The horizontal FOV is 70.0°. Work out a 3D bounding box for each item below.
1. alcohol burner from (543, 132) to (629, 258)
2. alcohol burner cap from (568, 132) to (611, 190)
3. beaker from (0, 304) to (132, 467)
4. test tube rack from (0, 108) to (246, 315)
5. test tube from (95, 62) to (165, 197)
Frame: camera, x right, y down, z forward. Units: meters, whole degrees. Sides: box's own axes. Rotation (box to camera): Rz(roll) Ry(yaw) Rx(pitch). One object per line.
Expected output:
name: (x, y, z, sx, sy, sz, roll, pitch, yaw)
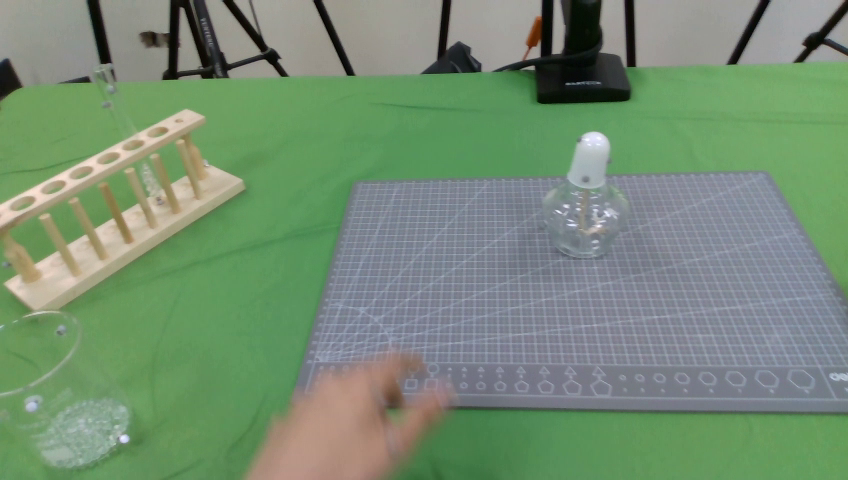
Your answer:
alcohol burner: (0.147, -0.043, 0.547, 0.078, 0.120, 0.077, -3, 39, 3)
alcohol burner cap: (0.145, -0.070, 0.523, 0.034, 0.048, 0.033, 1, 41, -1)
beaker: (-0.263, 0.108, 0.430, 0.084, 0.101, 0.073, -16, 42, -11)
test tube rack: (-0.307, -0.038, 0.616, 0.066, 0.086, 0.242, 25, 49, 30)
test tube: (-0.298, -0.108, 0.619, 0.017, 0.151, 0.017, -4, 38, 3)
